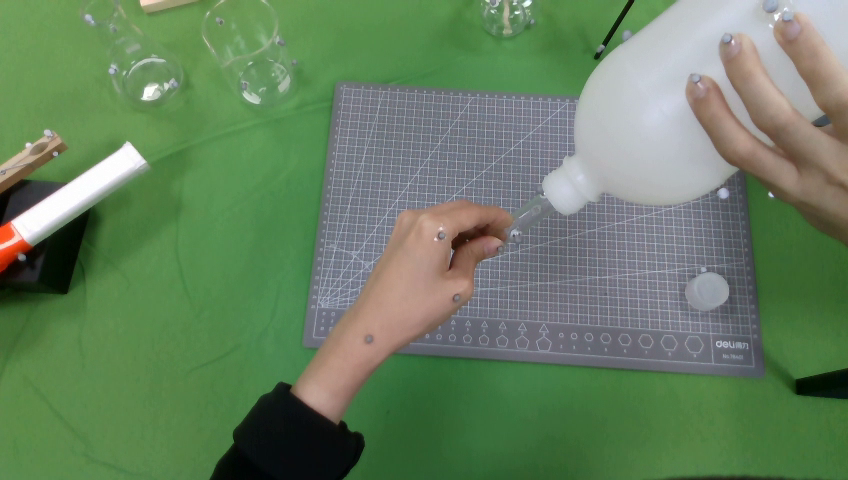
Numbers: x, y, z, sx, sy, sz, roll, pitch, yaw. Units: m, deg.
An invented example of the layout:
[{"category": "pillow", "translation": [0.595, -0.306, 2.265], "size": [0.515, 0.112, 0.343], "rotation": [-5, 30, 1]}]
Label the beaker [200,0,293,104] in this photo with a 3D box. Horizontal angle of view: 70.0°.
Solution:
[{"category": "beaker", "translation": [-0.182, -0.194, 0.634], "size": [0.074, 0.101, 0.083], "rotation": [18, 73, 6]}]

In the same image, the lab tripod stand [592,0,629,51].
[{"category": "lab tripod stand", "translation": [0.260, -0.272, 0.648], "size": [0.148, 0.132, 0.147], "rotation": [1, 71, -2]}]

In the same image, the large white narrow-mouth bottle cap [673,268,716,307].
[{"category": "large white narrow-mouth bottle cap", "translation": [0.270, 0.047, 0.603], "size": [0.038, 0.024, 0.037], "rotation": [0, 73, 0]}]

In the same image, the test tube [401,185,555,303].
[{"category": "test tube", "translation": [0.036, 0.006, 0.433], "size": [0.150, 0.017, 0.017], "rotation": [-38, 71, 30]}]

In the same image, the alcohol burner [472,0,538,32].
[{"category": "alcohol burner", "translation": [0.091, -0.285, 0.661], "size": [0.078, 0.120, 0.077], "rotation": [1, 70, -2]}]

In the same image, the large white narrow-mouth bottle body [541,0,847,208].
[{"category": "large white narrow-mouth bottle body", "translation": [0.149, -0.082, 0.341], "size": [0.195, 0.102, 0.101], "rotation": [-38, 71, 30]}]

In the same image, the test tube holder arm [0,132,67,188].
[{"category": "test tube holder arm", "translation": [-0.388, -0.073, 0.584], "size": [0.088, 0.015, 0.010], "rotation": [-39, 76, -13]}]

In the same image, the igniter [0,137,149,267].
[{"category": "igniter", "translation": [-0.383, -0.004, 0.558], "size": [0.276, 0.025, 0.057], "rotation": [-40, 79, -16]}]

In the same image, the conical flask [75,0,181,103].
[{"category": "conical flask", "translation": [-0.308, -0.202, 0.622], "size": [0.075, 0.122, 0.075], "rotation": [0, 71, 0]}]

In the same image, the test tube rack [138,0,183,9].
[{"category": "test tube rack", "translation": [-0.222, -0.345, 0.689], "size": [0.242, 0.085, 0.066], "rotation": [-17, 73, -6]}]

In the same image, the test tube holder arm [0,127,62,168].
[{"category": "test tube holder arm", "translation": [-0.425, -0.049, 0.575], "size": [0.178, 0.015, 0.013], "rotation": [-40, 77, -13]}]
